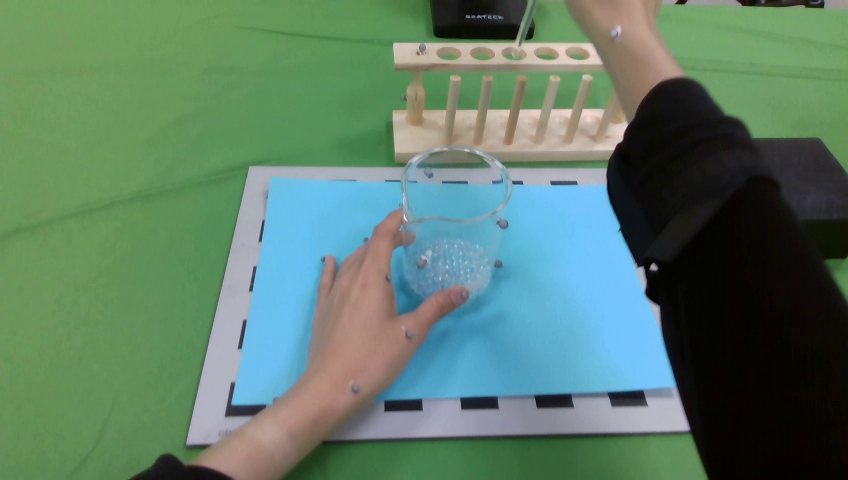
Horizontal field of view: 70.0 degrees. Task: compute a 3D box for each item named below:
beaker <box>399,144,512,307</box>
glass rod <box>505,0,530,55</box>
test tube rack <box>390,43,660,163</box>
[{"bbox_3d":[0.016,-0.005,0.432,0.073,0.101,0.084,37,56,27],"label":"beaker"},{"bbox_3d":[0.087,-0.215,0.440,0.008,0.201,0.008,5,57,-8],"label":"glass rod"},{"bbox_3d":[0.090,-0.127,0.562,0.243,0.086,0.066,-2,48,-5],"label":"test tube rack"}]
